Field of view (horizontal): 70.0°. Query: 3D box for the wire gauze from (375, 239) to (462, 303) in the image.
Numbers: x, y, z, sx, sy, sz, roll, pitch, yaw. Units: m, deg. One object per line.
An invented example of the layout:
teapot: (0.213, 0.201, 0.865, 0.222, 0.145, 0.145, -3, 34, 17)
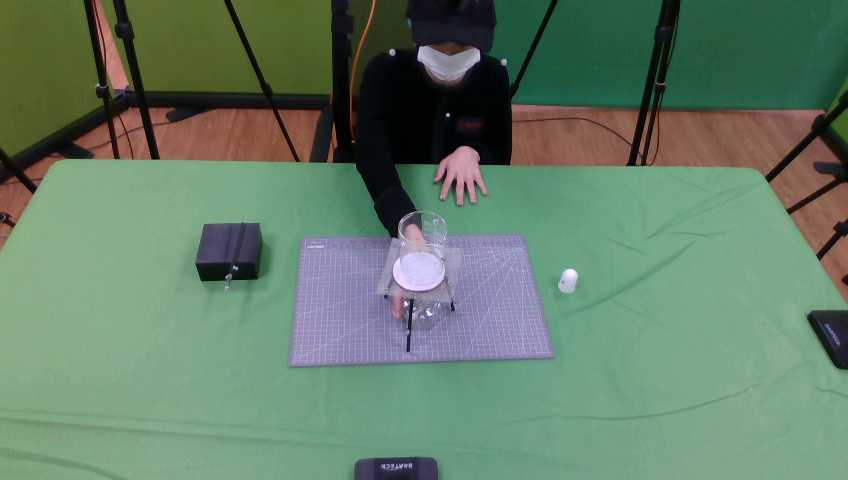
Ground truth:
wire gauze: (-0.006, 0.049, 0.978, 0.121, 0.011, 0.124, 10, 44, 5)

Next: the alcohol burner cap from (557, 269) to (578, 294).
alcohol burner cap: (0.270, 0.075, 1.135, 0.034, 0.048, 0.033, 3, 46, -2)

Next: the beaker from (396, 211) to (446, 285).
beaker: (-0.002, 0.017, 0.941, 0.083, 0.101, 0.074, 36, 54, 29)

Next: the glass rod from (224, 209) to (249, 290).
glass rod: (-0.340, 0.013, 1.102, 0.008, 0.008, 0.198, 2, 45, -3)

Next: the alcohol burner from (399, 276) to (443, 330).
alcohol burner: (-0.004, 0.100, 1.034, 0.078, 0.119, 0.077, 3, 48, -3)

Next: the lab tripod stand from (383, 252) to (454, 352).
lab tripod stand: (-0.015, 0.094, 1.025, 0.148, 0.132, 0.147, 1, 46, -1)
